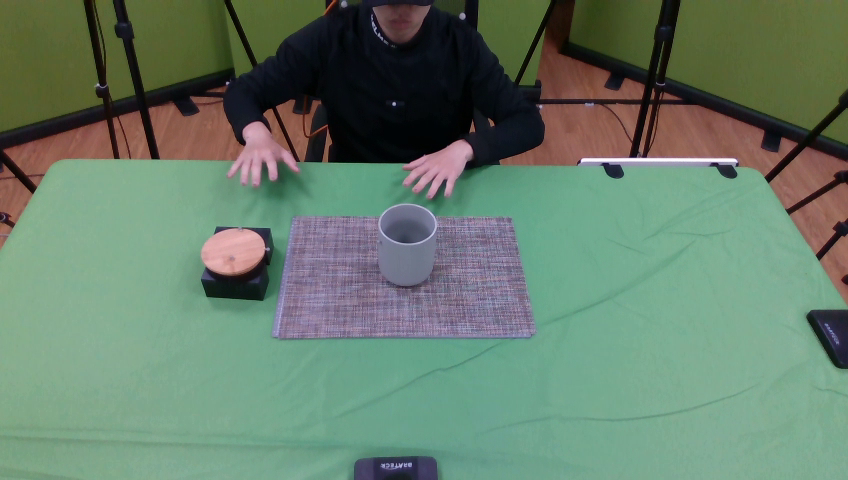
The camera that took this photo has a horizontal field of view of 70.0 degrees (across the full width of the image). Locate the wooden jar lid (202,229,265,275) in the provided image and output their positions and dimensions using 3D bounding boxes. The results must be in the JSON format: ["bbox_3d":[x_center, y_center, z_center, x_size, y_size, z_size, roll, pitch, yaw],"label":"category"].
[{"bbox_3d":[-0.340,0.023,1.084,0.108,0.021,0.107,3,45,-2],"label":"wooden jar lid"}]

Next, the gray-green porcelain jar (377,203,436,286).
[{"bbox_3d":[-0.033,0.014,1.106,0.106,0.127,0.105,2,46,-2],"label":"gray-green porcelain jar"}]
